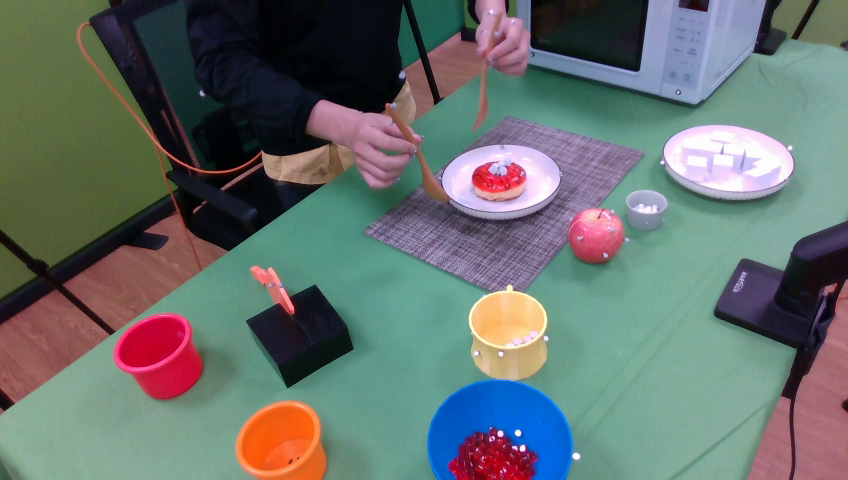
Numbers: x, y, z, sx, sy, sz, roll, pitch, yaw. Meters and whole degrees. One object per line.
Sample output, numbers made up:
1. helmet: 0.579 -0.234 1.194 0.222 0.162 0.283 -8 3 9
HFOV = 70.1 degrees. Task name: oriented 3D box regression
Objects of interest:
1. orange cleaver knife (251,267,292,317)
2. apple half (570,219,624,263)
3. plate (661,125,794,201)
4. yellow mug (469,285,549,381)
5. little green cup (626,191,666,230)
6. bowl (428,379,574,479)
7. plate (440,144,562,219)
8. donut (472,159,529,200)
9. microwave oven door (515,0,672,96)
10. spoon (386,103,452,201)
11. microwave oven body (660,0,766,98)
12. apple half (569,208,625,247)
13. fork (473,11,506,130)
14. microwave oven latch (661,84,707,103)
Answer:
1. orange cleaver knife: -0.221 0.071 0.873 0.012 0.077 0.210 -25 10 -21
2. apple half: 0.250 0.010 0.885 0.081 0.081 0.033 8 39 17
3. plate: 0.514 -0.128 1.035 0.207 0.039 0.206 -4 40 4
4. yellow mug: 0.112 0.112 0.792 0.100 0.064 0.130 0 40 9
5. little green cup: 0.352 -0.046 0.963 0.061 0.039 0.061 -4 40 4
6. bowl: 0.082 0.233 0.644 0.151 0.077 0.150 -4 40 4
7. plate: 0.134 -0.098 1.051 0.209 0.038 0.208 -4 40 4
8. donut: 0.132 -0.106 1.043 0.099 0.048 0.098 -4 38 4
9. microwave oven door: 0.343 -0.455 1.259 0.353 0.245 0.039 26 51 33
10. spoon: -0.007 -0.115 0.830 0.041 0.195 0.021 17 60 39
11. microwave oven body: 0.472 -0.513 1.317 0.438 0.261 0.327 26 51 34
12. apple half: 0.262 -0.014 0.913 0.080 0.075 0.053 5 37 20
13. fork: 0.099 -0.251 0.921 0.018 0.208 0.028 34 53 24
14. microwave oven latch: 0.517 -0.296 1.204 0.078 0.029 0.030 27 52 35
